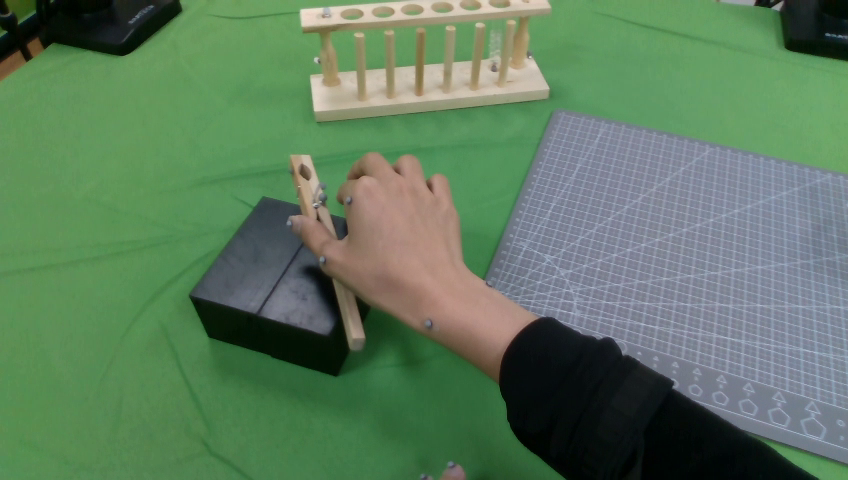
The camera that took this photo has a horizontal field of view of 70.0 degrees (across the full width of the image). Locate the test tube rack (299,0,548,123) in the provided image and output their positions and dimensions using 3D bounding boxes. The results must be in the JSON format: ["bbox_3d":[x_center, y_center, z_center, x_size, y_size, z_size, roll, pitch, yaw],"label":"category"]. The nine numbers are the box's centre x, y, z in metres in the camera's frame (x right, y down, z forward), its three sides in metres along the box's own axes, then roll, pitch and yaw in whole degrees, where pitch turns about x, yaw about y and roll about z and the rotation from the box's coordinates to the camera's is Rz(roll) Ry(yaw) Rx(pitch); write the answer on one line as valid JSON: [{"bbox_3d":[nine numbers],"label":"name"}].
[{"bbox_3d":[0.004,-0.185,0.611,0.243,0.086,0.066,-8,48,-8],"label":"test tube rack"}]

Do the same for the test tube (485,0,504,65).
[{"bbox_3d":[0.072,-0.242,0.597,0.017,0.151,0.017,0,45,1],"label":"test tube"}]

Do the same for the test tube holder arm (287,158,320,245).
[{"bbox_3d":[-0.089,-0.030,0.450,0.010,0.015,0.087,-12,47,-18],"label":"test tube holder arm"}]

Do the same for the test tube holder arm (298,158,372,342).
[{"bbox_3d":[-0.067,-0.001,0.423,0.013,0.015,0.176,-13,48,-19],"label":"test tube holder arm"}]
